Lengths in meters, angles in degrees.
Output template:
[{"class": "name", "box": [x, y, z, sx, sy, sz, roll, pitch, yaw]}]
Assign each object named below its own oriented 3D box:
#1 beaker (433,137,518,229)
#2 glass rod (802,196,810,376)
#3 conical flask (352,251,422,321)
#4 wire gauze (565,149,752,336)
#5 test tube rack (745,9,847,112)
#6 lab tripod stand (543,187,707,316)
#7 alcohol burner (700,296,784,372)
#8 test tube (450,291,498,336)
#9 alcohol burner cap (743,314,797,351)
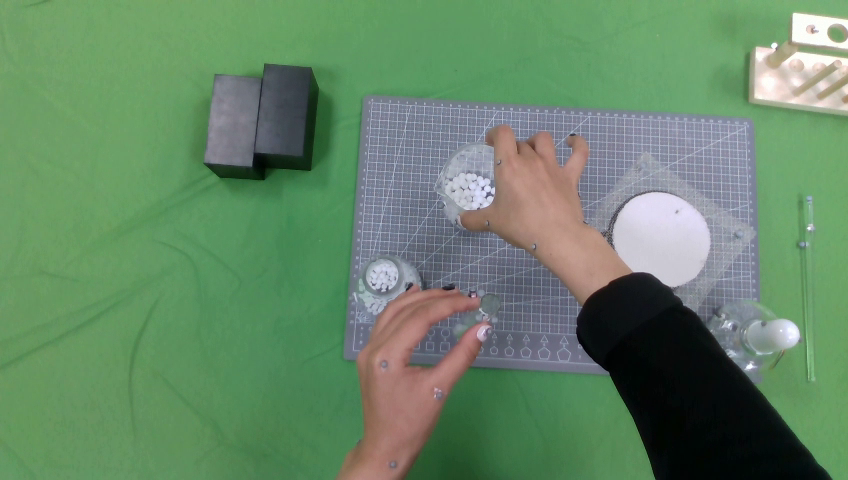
[{"class": "beaker", "box": [0.049, -0.053, 0.628, 0.084, 0.100, 0.073, -13, 80, -3]}, {"class": "glass rod", "box": [0.422, 0.049, 0.669, 0.008, 0.008, 0.199, 5, 83, -1]}, {"class": "conical flask", "box": [-0.039, 0.040, 0.599, 0.075, 0.122, 0.075, 0, 80, -1]}, {"class": "wire gauze", "box": [0.207, -0.001, 0.538, 0.125, 0.011, 0.121, 40, 83, 5]}, {"class": "test tube rack", "box": [0.499, -0.189, 0.672, 0.242, 0.085, 0.066, 7, 80, 0]}, {"class": "lab tripod stand", "box": [0.204, 0.008, 0.605, 0.148, 0.132, 0.148, 0, 82, 0]}, {"class": "alcohol burner", "box": [0.326, 0.093, 0.604, 0.078, 0.119, 0.077, 0, 79, 2]}, {"class": "test tube", "box": [0.038, 0.063, 0.493, 0.017, 0.151, 0.017, 1, 74, -5]}, {"class": "alcohol burner cap", "box": [0.327, 0.085, 0.568, 0.034, 0.048, 0.033, 1, 74, -4]}]
